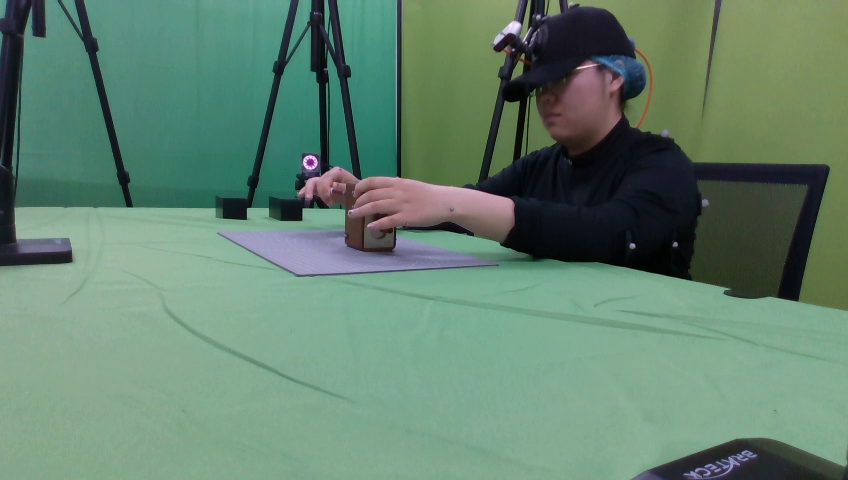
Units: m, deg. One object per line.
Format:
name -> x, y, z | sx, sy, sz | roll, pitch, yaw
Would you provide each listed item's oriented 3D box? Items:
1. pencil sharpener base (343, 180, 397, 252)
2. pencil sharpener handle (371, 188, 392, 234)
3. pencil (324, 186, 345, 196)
pencil sharpener base -> -0.085, -0.038, 0.957 | 0.062, 0.107, 0.076 | -1, 9, -31
pencil sharpener handle -> -0.058, -0.044, 0.913 | 0.036, 0.067, 0.030 | -1, 9, -32
pencil -> -0.130, -0.078, 1.032 | 0.012, 0.012, 0.193 | -2, 11, -32
